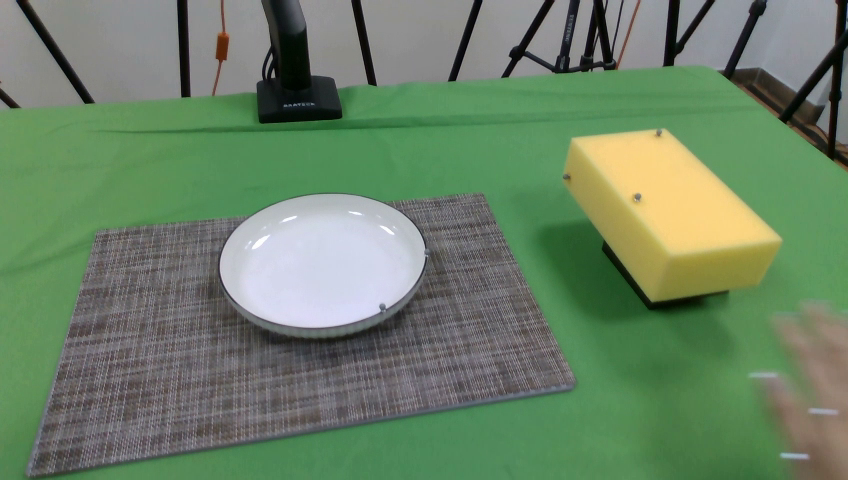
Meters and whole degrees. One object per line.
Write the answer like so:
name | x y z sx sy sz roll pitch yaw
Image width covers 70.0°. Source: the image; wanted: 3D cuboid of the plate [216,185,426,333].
plate | -0.103 0.019 0.623 0.208 0.039 0.205 2 41 -2

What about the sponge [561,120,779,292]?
sponge | 0.242 -0.044 0.630 0.118 0.061 0.204 -8 42 -13
